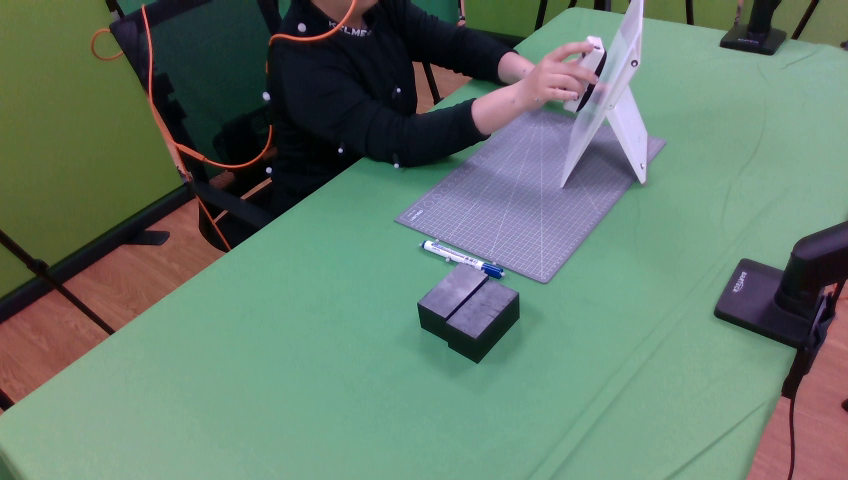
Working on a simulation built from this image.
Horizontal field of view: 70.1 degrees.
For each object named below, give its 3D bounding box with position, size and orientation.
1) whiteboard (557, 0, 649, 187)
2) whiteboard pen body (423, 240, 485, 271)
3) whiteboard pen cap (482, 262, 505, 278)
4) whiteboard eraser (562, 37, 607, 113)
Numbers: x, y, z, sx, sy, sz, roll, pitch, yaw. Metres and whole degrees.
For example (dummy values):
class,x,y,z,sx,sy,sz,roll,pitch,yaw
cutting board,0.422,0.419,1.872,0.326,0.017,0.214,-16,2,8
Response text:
class,x,y,z,sx,sy,sz,roll,pitch,yaw
whiteboard,0.361,-0.238,1.026,0.144,0.306,0.217,21,45,4
whiteboard pen body,0.057,0.027,0.942,0.139,0.017,0.017,21,48,30
whiteboard pen cap,0.104,0.044,0.912,0.033,0.018,0.018,21,48,29
whiteboard eraser,0.264,-0.269,0.992,0.042,0.113,0.055,15,42,-3
